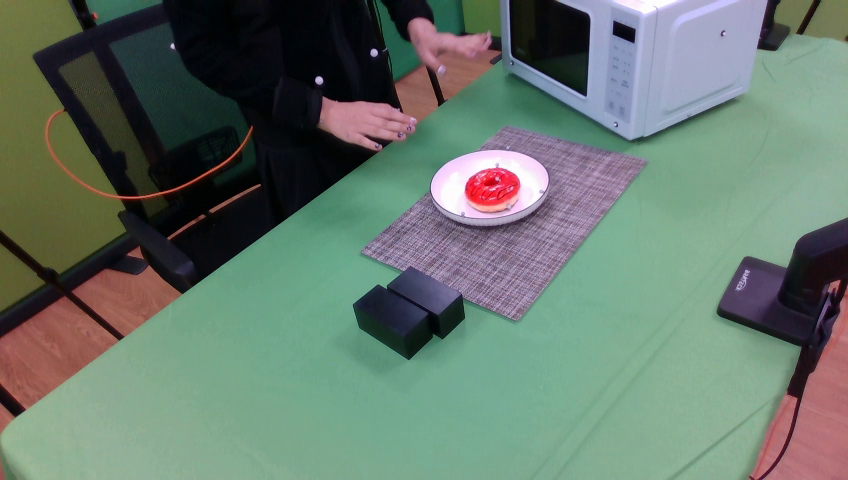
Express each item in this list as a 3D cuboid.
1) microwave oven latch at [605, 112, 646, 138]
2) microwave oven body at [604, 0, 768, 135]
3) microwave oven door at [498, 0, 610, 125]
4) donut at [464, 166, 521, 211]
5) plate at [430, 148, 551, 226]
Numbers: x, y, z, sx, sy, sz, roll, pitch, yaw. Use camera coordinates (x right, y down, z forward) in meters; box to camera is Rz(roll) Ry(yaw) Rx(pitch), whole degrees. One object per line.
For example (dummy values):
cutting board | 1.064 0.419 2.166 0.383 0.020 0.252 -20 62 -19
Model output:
microwave oven latch | 0.375 -0.217 1.130 0.030 0.029 0.078 -25 42 -16
microwave oven body | 0.410 -0.441 1.235 0.327 0.261 0.437 -25 42 -16
microwave oven door | 0.261 -0.410 1.219 0.039 0.245 0.352 -24 42 -17
donut | 0.117 -0.089 1.031 0.099 0.048 0.098 -7 41 7
plate | 0.114 -0.089 1.049 0.209 0.038 0.208 -5 40 5
